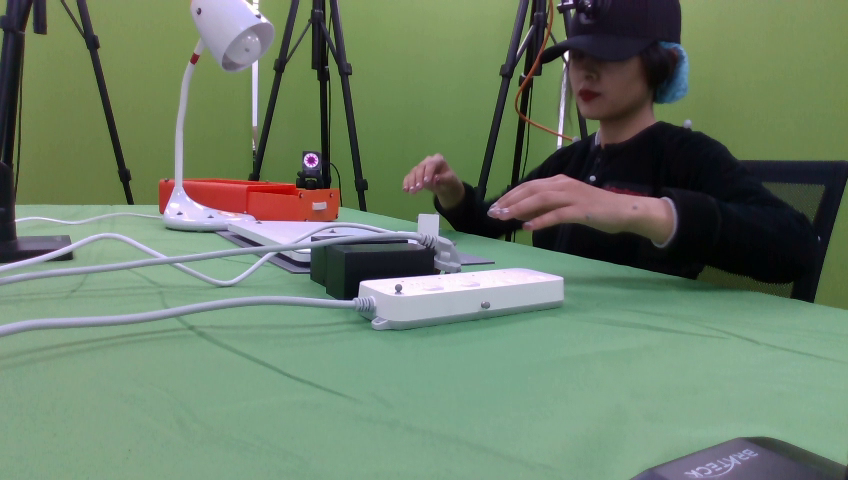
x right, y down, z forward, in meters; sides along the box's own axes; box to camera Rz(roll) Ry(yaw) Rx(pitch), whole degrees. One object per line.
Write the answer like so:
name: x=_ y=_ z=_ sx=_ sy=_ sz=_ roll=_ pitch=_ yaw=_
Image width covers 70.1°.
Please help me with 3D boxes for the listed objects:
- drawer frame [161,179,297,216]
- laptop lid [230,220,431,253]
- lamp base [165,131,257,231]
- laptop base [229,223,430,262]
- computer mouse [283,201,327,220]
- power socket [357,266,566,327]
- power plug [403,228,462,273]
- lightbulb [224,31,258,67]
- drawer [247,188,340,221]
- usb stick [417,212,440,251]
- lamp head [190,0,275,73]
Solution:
drawer frame: x=-0.421 y=-0.089 z=1.329 sx=0.213 sy=0.082 sz=0.202 roll=4 pitch=8 yaw=16
laptop lid: x=-0.142 y=-0.009 z=0.942 sx=0.243 sy=0.013 sz=0.355 roll=1 pitch=7 yaw=-31
lamp base: x=-0.407 y=-0.112 z=1.119 sx=0.179 sy=0.180 sz=0.161 roll=-1 pitch=7 yaw=7
laptop base: x=-0.145 y=0.002 z=0.943 sx=0.237 sy=0.023 sz=0.352 roll=2 pitch=6 yaw=-32
computer mouse: x=-0.254 y=-0.062 z=1.293 sx=0.063 sy=0.041 sz=0.117 roll=0 pitch=2 yaw=10
power socket: x=0.042 y=0.049 z=0.573 sx=0.228 sy=0.032 sz=0.072 roll=-3 pitch=8 yaw=-34
power plug: x=0.006 y=0.016 z=0.647 sx=0.073 sy=0.052 sz=0.035 roll=17 pitch=12 yaw=-6
lightbulb: x=-0.321 y=-0.333 z=0.999 sx=0.107 sy=0.059 sz=0.059 roll=45 pitch=13 yaw=3
drawer: x=-0.314 y=-0.079 z=1.301 sx=0.211 sy=0.073 sz=0.195 roll=4 pitch=8 yaw=15
usb stick: x=0.005 y=-0.003 z=0.721 sx=0.027 sy=0.059 sz=0.021 roll=0 pitch=-3 yaw=-2
lamp head: x=-0.331 y=-0.355 z=1.008 sx=0.123 sy=0.112 sz=0.112 roll=43 pitch=15 yaw=6
